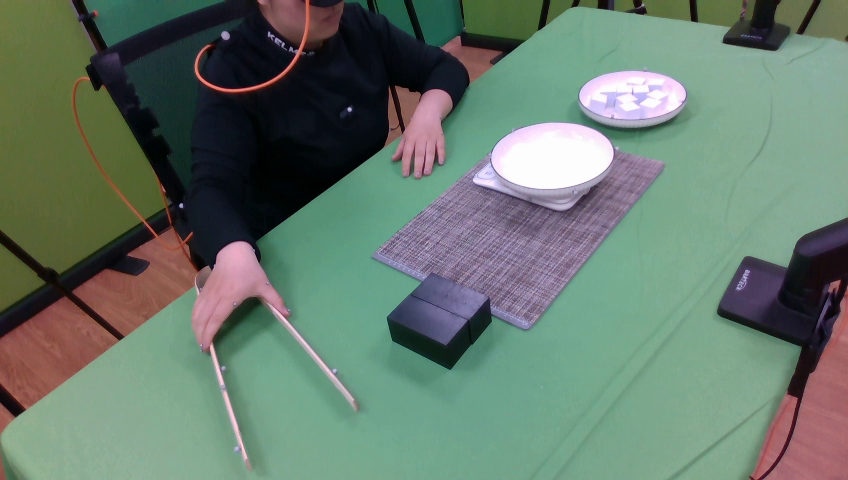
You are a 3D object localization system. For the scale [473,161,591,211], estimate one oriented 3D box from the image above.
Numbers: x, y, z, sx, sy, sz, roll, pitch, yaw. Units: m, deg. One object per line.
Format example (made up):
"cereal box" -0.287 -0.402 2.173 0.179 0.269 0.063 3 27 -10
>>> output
"scale" 0.202 -0.121 1.074 0.199 0.032 0.149 23 49 33

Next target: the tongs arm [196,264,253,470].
"tongs arm" -0.272 0.154 0.841 0.051 0.026 0.381 -24 41 -17

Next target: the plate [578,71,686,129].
"plate" 0.416 -0.279 1.222 0.209 0.038 0.208 -5 41 5

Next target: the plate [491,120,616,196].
"plate" 0.221 -0.137 1.038 0.207 0.039 0.206 -6 41 5

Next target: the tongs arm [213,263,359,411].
"tongs arm" -0.208 0.124 0.869 0.028 0.028 0.384 -35 46 -23
